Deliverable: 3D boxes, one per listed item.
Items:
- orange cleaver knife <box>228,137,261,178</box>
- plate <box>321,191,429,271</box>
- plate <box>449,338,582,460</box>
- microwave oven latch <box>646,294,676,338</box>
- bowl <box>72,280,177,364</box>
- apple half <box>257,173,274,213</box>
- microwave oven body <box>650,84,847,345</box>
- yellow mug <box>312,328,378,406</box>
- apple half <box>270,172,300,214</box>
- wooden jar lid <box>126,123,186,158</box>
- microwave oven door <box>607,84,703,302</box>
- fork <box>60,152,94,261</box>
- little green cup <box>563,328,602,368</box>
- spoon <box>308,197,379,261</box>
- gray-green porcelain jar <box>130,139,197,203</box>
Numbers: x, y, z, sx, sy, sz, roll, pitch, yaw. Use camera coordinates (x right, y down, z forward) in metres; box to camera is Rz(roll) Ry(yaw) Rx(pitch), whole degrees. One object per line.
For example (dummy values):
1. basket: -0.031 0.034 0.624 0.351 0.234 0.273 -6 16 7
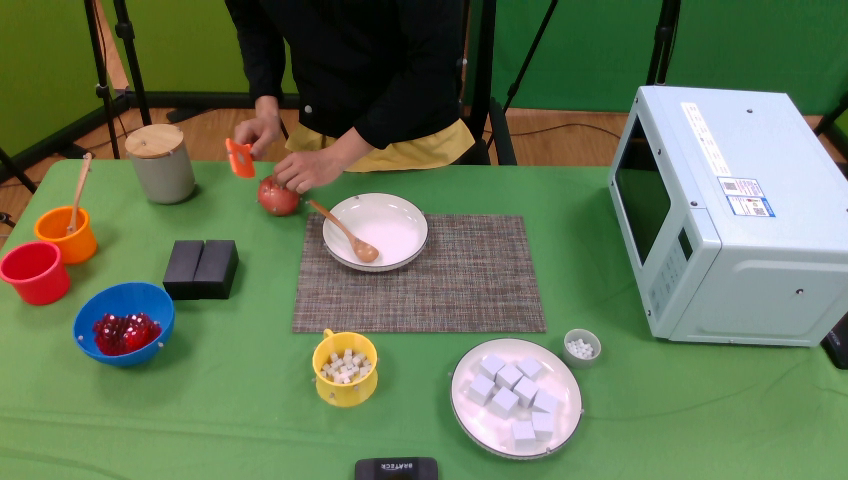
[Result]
1. orange cleaver knife: -0.337 -0.158 1.158 0.012 0.077 0.211 -13 10 1
2. plate: -0.094 -0.015 1.185 0.209 0.038 0.208 2 46 -2
3. plate: 0.141 0.251 0.956 0.208 0.039 0.206 2 46 -2
4. microwave oven latch: 0.413 0.133 1.061 0.030 0.029 0.078 4 46 1
5. bowl: -0.473 0.147 0.982 0.151 0.077 0.150 2 46 -2
6. apple half: -0.319 -0.093 1.223 0.033 0.081 0.081 0 47 -9
7. microwave oven body: 0.569 -0.054 1.116 0.326 0.261 0.439 2 46 -1
8. yellow mug: -0.132 0.193 0.971 0.100 0.064 0.130 -22 51 -22
9. apple half: -0.279 -0.093 1.227 0.053 0.075 0.080 1 44 -6
10. wooden jar lid: -0.519 -0.190 1.179 0.108 0.021 0.107 2 44 -2
11. microwave oven door: 0.424 -0.096 1.138 0.039 0.245 0.353 3 46 -1
12. fork: -0.638 -0.063 1.119 0.028 0.018 0.207 12 90 9
13. little green cup: 0.266 0.185 1.025 0.061 0.039 0.061 1 45 -1
14. spoon: -0.158 -0.025 1.172 0.041 0.022 0.193 -40 72 -22
15. gray-green porcelain jar: -0.522 -0.148 1.225 0.106 0.127 0.105 2 47 -2
